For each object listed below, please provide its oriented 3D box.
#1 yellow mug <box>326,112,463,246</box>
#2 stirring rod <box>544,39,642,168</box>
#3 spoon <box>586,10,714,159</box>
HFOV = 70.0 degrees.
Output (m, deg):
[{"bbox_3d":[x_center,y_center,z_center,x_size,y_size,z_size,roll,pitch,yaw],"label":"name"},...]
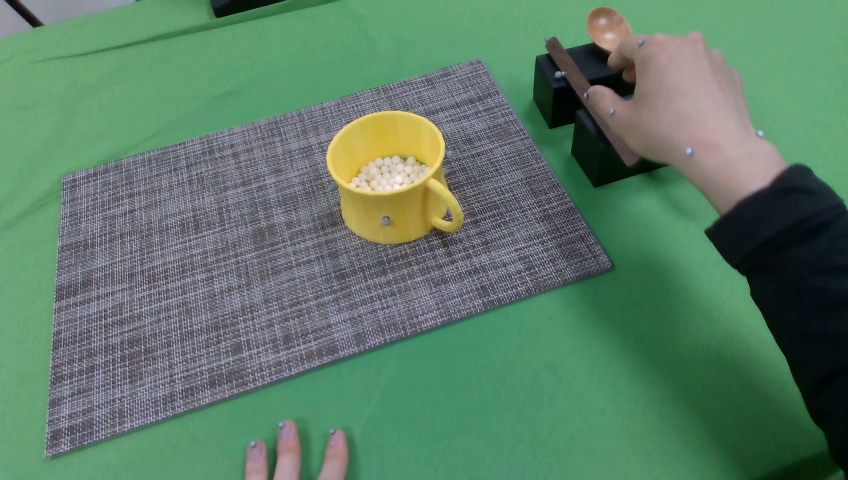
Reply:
[{"bbox_3d":[-0.017,-0.046,0.519,0.130,0.064,0.100,33,63,26],"label":"yellow mug"},{"bbox_3d":[0.145,-0.126,0.535,0.014,0.006,0.174,-40,49,24],"label":"stirring rod"},{"bbox_3d":[0.199,-0.143,0.540,0.041,0.022,0.191,-17,55,-8],"label":"spoon"}]
